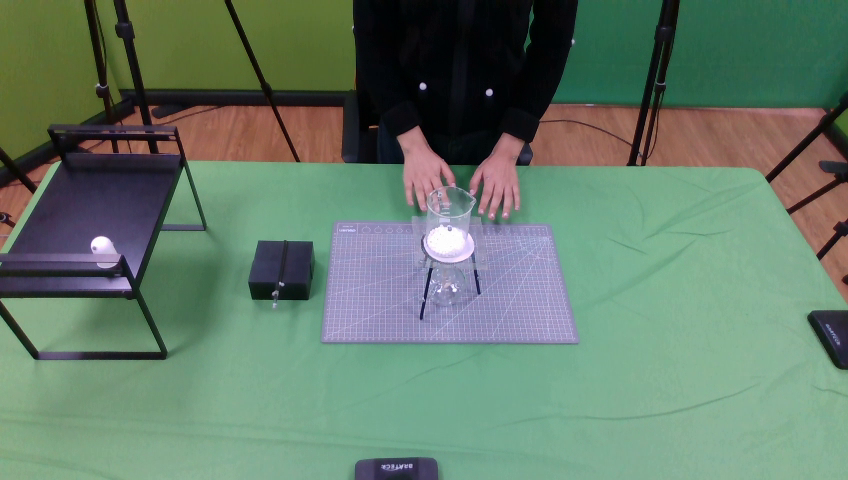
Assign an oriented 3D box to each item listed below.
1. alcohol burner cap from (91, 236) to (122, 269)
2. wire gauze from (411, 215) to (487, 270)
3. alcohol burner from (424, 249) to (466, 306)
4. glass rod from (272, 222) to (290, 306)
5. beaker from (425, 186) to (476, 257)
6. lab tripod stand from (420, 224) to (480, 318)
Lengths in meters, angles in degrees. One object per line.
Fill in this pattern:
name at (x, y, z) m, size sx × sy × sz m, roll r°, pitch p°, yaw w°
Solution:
alcohol burner cap at (-0.465, 0.015, 0.883) m, size 0.034 × 0.048 × 0.033 m, roll 1°, pitch 47°, yaw -1°
wire gauze at (0.041, 0.003, 1.026) m, size 0.125 × 0.011 × 0.120 m, roll 0°, pitch 46°, yaw -1°
alcohol burner at (0.038, 0.061, 1.075) m, size 0.078 × 0.120 × 0.077 m, roll 2°, pitch 44°, yaw -1°
glass rod at (-0.255, 0.039, 1.084) m, size 0.008 × 0.008 × 0.198 m, roll 1°, pitch 46°, yaw -3°
beaker at (0.041, -0.028, 0.989) m, size 0.084 × 0.101 × 0.073 m, roll -12°, pitch 48°, yaw -15°
lab tripod stand at (0.034, 0.051, 1.070) m, size 0.148 × 0.132 × 0.147 m, roll 3°, pitch 48°, yaw -3°
